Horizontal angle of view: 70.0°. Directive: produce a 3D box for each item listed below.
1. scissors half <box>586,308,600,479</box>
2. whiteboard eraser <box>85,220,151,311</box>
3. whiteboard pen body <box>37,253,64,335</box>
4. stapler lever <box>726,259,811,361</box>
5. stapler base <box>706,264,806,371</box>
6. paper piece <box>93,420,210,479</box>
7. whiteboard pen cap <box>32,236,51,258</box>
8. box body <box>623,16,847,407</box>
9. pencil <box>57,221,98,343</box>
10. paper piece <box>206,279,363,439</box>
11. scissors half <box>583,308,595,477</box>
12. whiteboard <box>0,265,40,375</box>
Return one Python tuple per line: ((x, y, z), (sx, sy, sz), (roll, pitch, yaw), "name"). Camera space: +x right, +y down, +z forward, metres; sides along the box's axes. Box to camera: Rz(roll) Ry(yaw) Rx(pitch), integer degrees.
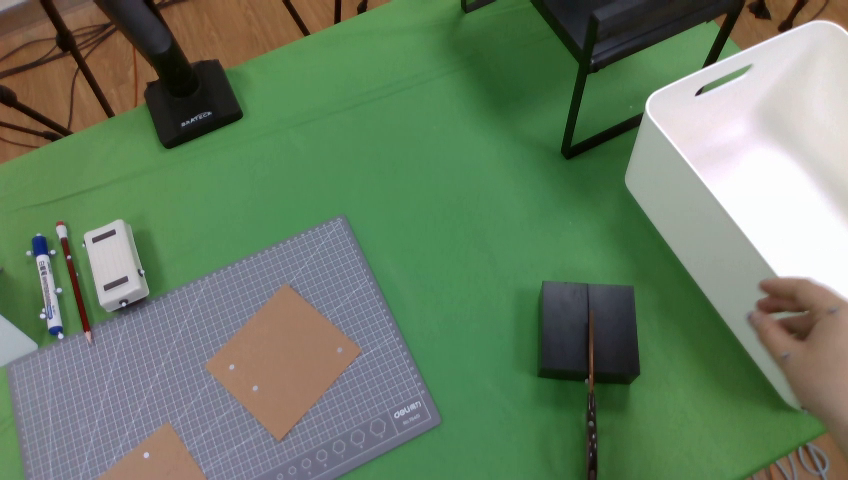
((0.173, 0.154, 0.623), (0.013, 0.040, 0.174), (0, 68, 10), "scissors half")
((-0.387, 0.033, 0.768), (0.055, 0.042, 0.111), (-26, 66, -6), "whiteboard eraser")
((-0.482, 0.059, 0.777), (0.017, 0.017, 0.139), (-24, 65, -6), "whiteboard pen body")
((0.376, 0.073, 0.660), (0.027, 0.040, 0.117), (-29, 70, -6), "stapler lever")
((0.376, 0.082, 0.685), (0.041, 0.024, 0.129), (-29, 69, -6), "stapler base")
((-0.300, 0.291, 0.657), (0.135, 0.004, 0.134), (-39, 69, -13), "paper piece")
((-0.505, 0.011, 0.799), (0.018, 0.018, 0.033), (-27, 64, -7), "whiteboard pen cap")
((0.422, -0.031, 0.662), (0.254, 0.161, 0.360), (-26, 66, -7), "box body")
((-0.446, 0.052, 0.780), (0.012, 0.012, 0.192), (-28, 66, -8), "pencil")
((-0.166, 0.138, 0.717), (0.137, 0.009, 0.136), (38, 78, 17), "paper piece")
((0.175, 0.160, 0.642), (0.013, 0.040, 0.174), (2, 85, 5), "scissors half")
((-0.627, 0.042, 0.671), (0.217, 0.309, 0.142), (-25, 46, -6), "whiteboard")
